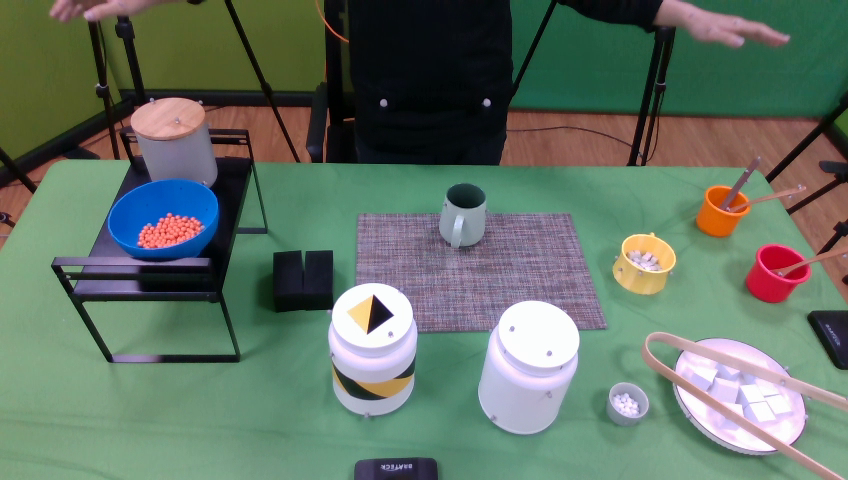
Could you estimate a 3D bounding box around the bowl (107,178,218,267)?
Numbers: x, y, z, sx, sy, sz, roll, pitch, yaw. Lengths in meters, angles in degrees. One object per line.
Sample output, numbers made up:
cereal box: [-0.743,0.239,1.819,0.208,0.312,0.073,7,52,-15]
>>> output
bowl: [-0.374,-0.014,0.893,0.151,0.077,0.150,2,46,-2]

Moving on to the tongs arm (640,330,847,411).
tongs arm: [0.543,0.226,0.969,0.384,0.026,0.050,22,52,13]

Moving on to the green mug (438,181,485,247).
green mug: [0.071,-0.039,1.177,0.092,0.105,0.124,12,47,7]

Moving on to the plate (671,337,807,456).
plate: [0.503,0.254,0.984,0.208,0.039,0.206,2,46,-2]

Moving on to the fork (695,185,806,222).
fork: [0.658,-0.074,1.230,0.207,0.019,0.028,-23,36,37]

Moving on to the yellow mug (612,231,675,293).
yellow mug: [0.424,0.033,1.168,0.100,0.064,0.130,18,47,14]

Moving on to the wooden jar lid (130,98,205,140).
wooden jar lid: [-0.393,-0.183,0.934,0.108,0.021,0.107,2,44,-2]

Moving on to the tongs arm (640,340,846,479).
tongs arm: [0.500,0.277,0.919,0.386,0.028,0.028,34,59,22]

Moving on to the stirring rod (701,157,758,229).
stirring rod: [0.634,-0.097,1.257,0.014,0.006,0.176,38,97,30]

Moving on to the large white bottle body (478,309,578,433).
large white bottle body: [0.156,0.192,0.913,0.131,0.185,0.130,2,46,-2]

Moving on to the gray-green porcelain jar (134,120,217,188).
gray-green porcelain jar: [-0.397,-0.141,0.980,0.106,0.127,0.105,2,47,-2]

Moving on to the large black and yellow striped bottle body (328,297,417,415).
large black and yellow striped bottle body: [-0.078,0.167,0.920,0.131,0.185,0.130,2,46,-2]

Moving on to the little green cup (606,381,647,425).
little green cup: [0.319,0.261,0.962,0.061,0.039,0.061,2,45,-2]

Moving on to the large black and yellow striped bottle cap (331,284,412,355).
large black and yellow striped bottle cap: [-0.073,0.110,0.858,0.115,0.019,0.114,2,46,-2]

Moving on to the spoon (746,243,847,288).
spoon: [0.702,0.044,1.126,0.194,0.022,0.041,-29,38,30]

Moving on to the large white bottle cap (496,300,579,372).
large white bottle cap: [0.160,0.133,0.852,0.115,0.018,0.114,3,46,-2]
